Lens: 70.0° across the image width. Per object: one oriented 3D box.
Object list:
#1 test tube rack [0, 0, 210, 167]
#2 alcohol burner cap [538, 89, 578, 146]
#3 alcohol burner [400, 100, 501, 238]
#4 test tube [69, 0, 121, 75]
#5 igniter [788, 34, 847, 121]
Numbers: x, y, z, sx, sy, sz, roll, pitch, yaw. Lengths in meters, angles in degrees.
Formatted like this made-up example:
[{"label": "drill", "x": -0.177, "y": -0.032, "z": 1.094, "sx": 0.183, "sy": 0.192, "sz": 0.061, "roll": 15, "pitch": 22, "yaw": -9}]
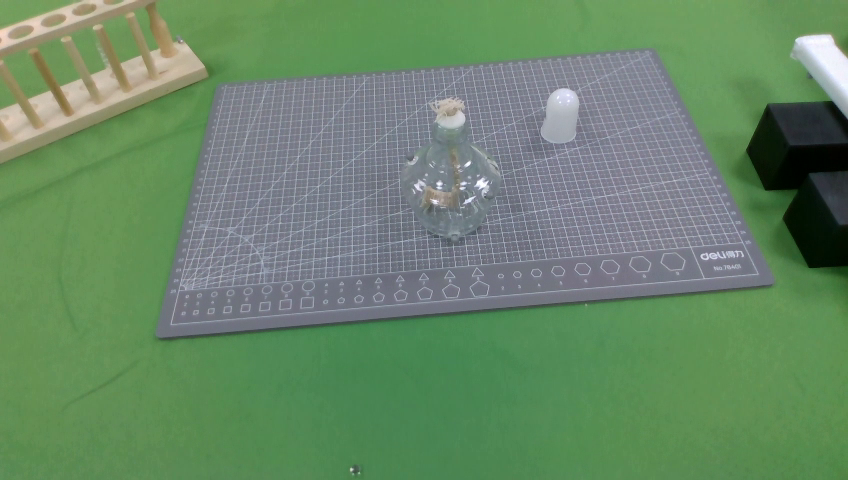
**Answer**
[{"label": "test tube rack", "x": -0.344, "y": -0.157, "z": 0.580, "sx": 0.242, "sy": 0.086, "sz": 0.066, "roll": -30, "pitch": 55, "yaw": -19}, {"label": "alcohol burner cap", "x": 0.120, "y": -0.111, "z": 0.537, "sx": 0.034, "sy": 0.048, "sz": 0.033, "roll": -1, "pitch": 50, "yaw": 1}, {"label": "alcohol burner", "x": 0.020, "y": -0.057, "z": 0.453, "sx": 0.078, "sy": 0.120, "sz": 0.077, "roll": -1, "pitch": 52, "yaw": 1}, {"label": "test tube", "x": -0.322, "y": -0.225, "z": 0.565, "sx": 0.017, "sy": 0.152, "sz": 0.017, "roll": -5, "pitch": 42, "yaw": 5}, {"label": "igniter", "x": 0.342, "y": -0.070, "z": 0.441, "sx": 0.057, "sy": 0.025, "sz": 0.273, "roll": -6, "pitch": 49, "yaw": 2}]
